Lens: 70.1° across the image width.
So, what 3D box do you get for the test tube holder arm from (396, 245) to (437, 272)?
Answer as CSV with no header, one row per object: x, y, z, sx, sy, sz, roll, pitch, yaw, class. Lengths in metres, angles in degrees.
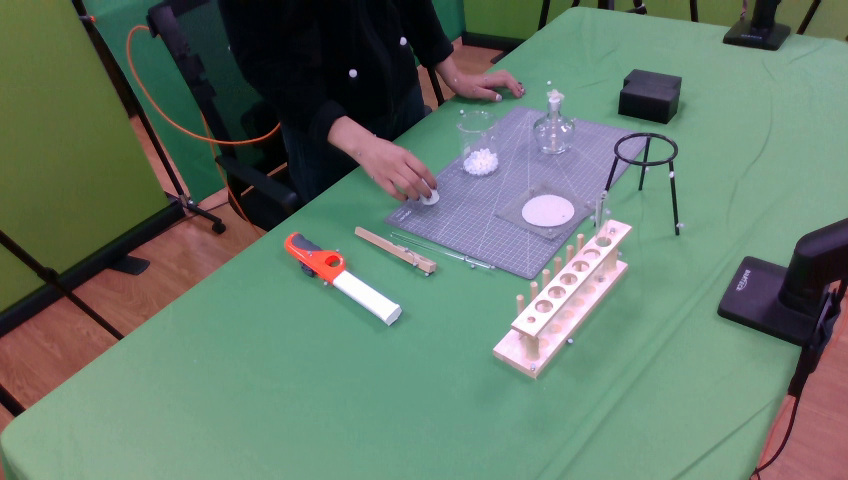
-0.016,0.029,0.957,0.087,0.015,0.010,25,16,35,test tube holder arm

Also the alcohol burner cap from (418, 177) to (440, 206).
0.007,-0.086,1.045,0.034,0.048,0.033,-10,41,9,alcohol burner cap

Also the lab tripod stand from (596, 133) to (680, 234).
0.338,-0.090,0.940,0.148,0.132,0.147,-7,39,6,lab tripod stand

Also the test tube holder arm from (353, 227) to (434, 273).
-0.053,0.014,0.978,0.177,0.015,0.013,25,16,34,test tube holder arm

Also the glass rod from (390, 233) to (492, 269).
0.023,0.017,0.971,0.198,0.008,0.008,18,48,32,glass rod

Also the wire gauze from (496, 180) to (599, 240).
0.206,-0.050,1.012,0.125,0.011,0.120,-34,45,-26,wire gauze

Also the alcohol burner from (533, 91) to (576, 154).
0.243,-0.222,1.124,0.078,0.119,0.077,-4,39,4,alcohol burner

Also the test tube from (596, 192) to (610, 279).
0.240,-0.002,0.814,0.017,0.151,0.017,-7,42,7,test tube

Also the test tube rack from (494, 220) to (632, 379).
0.191,0.068,0.818,0.066,0.085,0.243,25,51,35,test tube rack

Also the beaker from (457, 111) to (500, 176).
0.104,-0.176,1.108,0.073,0.101,0.084,16,45,27,beaker

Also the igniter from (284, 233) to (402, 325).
-0.136,0.054,0.942,0.274,0.025,0.057,30,63,37,igniter
